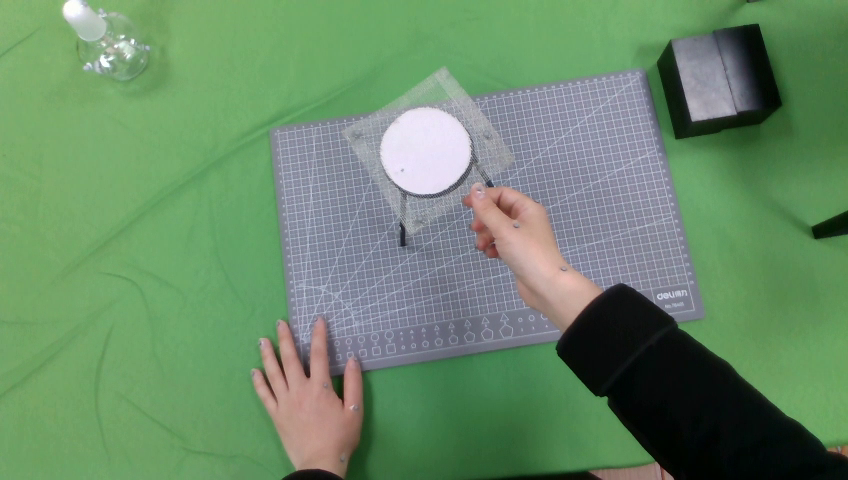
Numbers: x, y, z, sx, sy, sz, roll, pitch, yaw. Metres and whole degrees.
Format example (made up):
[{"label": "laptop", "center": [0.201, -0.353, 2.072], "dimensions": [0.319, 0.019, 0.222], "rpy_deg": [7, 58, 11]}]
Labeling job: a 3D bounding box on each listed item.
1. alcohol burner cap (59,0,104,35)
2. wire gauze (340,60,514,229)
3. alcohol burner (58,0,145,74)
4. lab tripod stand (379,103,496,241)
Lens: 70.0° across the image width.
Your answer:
[{"label": "alcohol burner cap", "center": [-0.375, -0.249, 0.657], "dimensions": [0.034, 0.048, 0.033], "rpy_deg": [1, 79, -4]}, {"label": "wire gauze", "center": [0.002, -0.093, 0.567], "dimensions": [0.121, 0.011, 0.124], "rpy_deg": [-33, 78, -4]}, {"label": "alcohol burner", "center": [-0.373, -0.241, 0.693], "dimensions": [0.078, 0.119, 0.077], "rpy_deg": [0, 79, 2]}, {"label": "lab tripod stand", "center": [0.003, -0.077, 0.632], "dimensions": [0.148, 0.132, 0.147], "rpy_deg": [-1, 78, 4]}]
